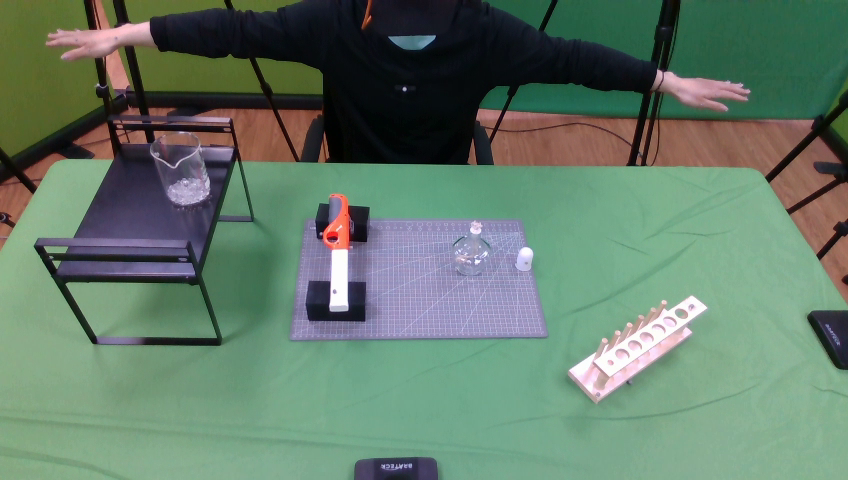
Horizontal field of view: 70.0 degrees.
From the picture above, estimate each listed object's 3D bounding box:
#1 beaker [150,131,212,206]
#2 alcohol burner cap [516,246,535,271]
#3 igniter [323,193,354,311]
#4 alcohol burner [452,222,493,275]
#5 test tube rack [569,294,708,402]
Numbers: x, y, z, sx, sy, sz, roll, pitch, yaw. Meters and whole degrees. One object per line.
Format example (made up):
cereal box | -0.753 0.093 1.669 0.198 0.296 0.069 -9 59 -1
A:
beaker | -0.385 -0.110 0.969 0.074 0.101 0.083 -6 48 -9
alcohol burner cap | 0.195 0.032 1.158 0.034 0.048 0.033 2 45 -2
igniter | -0.155 0.012 1.097 0.057 0.025 0.274 -2 48 -7
alcohol burner | 0.091 0.009 1.124 0.078 0.119 0.077 2 48 -2
test tube rack | 0.360 0.167 1.015 0.242 0.085 0.066 -25 52 -25
